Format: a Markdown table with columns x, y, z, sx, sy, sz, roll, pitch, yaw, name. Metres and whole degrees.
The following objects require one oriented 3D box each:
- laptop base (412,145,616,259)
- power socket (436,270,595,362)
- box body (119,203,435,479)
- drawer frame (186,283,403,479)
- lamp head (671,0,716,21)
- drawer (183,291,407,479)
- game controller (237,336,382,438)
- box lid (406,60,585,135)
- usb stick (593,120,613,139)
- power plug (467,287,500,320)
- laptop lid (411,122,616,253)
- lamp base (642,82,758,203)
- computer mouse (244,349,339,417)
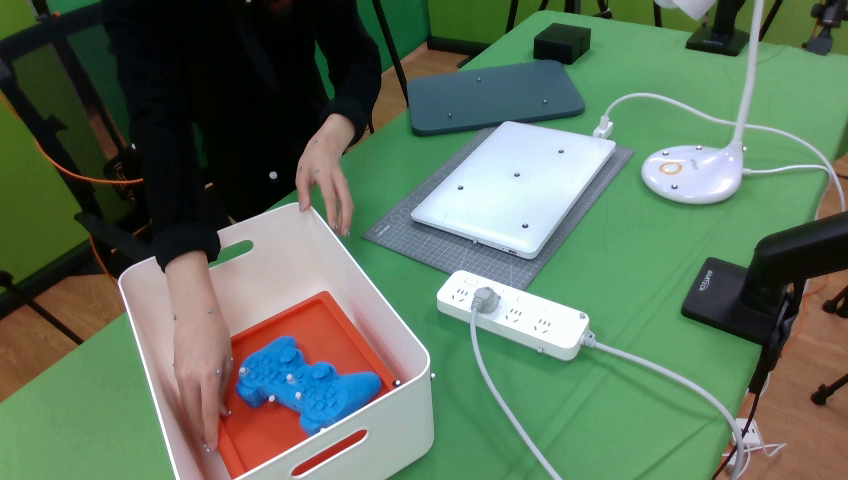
| x | y | z | sx | sy | sz | roll | pitch | yaw | name |
| --- | --- | --- | --- | --- | --- | --- | --- | --- | --- |
| 0.168 | -0.101 | 1.073 | 0.234 | 0.023 | 0.355 | 17 | 46 | 30 | laptop base |
| 0.118 | 0.101 | 0.832 | 0.225 | 0.033 | 0.072 | 19 | 48 | 27 | power socket |
| -0.175 | 0.142 | 0.724 | 0.255 | 0.161 | 0.360 | -25 | 43 | -20 | box body |
| -0.150 | 0.179 | 0.730 | 0.202 | 0.083 | 0.211 | -27 | 48 | -19 | drawer frame |
| 0.375 | -0.373 | 0.807 | 0.122 | 0.113 | 0.112 | -40 | 27 | 32 | lamp head |
| -0.155 | 0.182 | 0.723 | 0.195 | 0.073 | 0.210 | -27 | 43 | -22 | drawer |
| -0.134 | 0.157 | 0.674 | 0.154 | 0.052 | 0.097 | 17 | 50 | 27 | game controller |
| 0.150 | -0.320 | 1.340 | 0.372 | 0.015 | 0.261 | -8 | 40 | 0 | box lid |
| 0.336 | -0.201 | 1.146 | 0.021 | 0.027 | 0.059 | 25 | 52 | 27 | usb stick |
| 0.073 | 0.092 | 0.814 | 0.035 | 0.053 | 0.073 | 29 | 54 | 34 | power plug |
| 0.165 | -0.111 | 1.067 | 0.240 | 0.013 | 0.357 | 19 | 46 | 31 | laptop lid |
| 0.464 | -0.174 | 0.992 | 0.179 | 0.181 | 0.159 | -5 | 41 | -1 | lamp base |
| -0.166 | 0.172 | 0.753 | 0.118 | 0.041 | 0.062 | -18 | 34 | -18 | computer mouse |
